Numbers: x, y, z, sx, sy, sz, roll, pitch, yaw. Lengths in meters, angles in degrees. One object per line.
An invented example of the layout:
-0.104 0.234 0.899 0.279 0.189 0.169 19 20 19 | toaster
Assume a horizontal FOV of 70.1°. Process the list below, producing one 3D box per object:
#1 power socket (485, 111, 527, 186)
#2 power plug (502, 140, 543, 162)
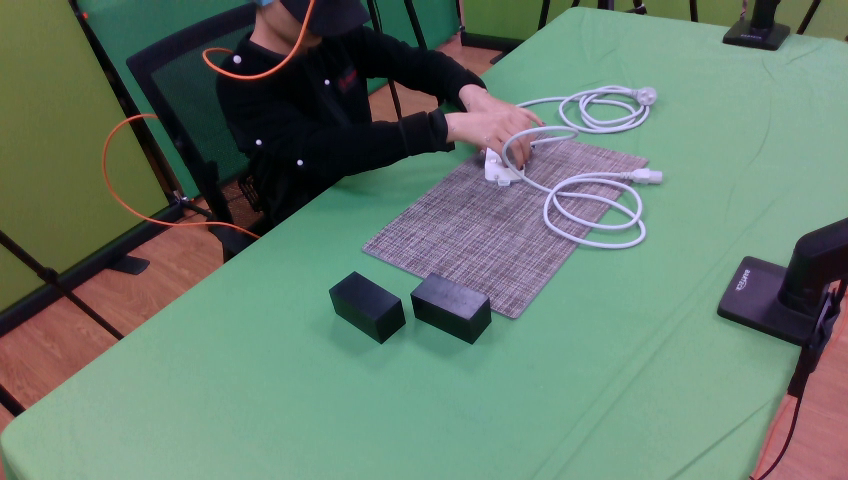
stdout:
0.158 -0.181 1.153 0.072 0.033 0.226 0 40 11 | power socket
0.175 -0.150 1.078 0.072 0.053 0.035 5 41 21 | power plug
